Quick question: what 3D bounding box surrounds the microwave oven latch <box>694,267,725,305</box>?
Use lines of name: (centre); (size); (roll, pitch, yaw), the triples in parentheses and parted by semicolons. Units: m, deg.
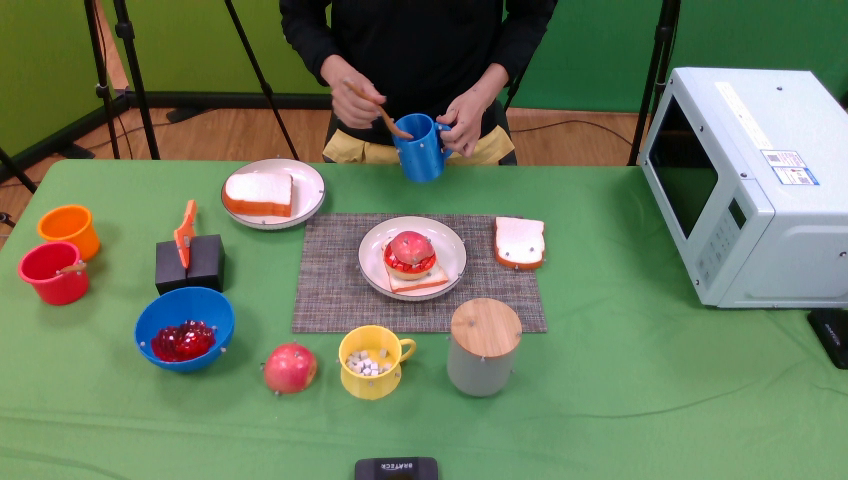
microwave oven latch: (0.523, 0.082, 1.115); (0.030, 0.029, 0.078); (3, 46, 0)

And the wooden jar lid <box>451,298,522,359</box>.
wooden jar lid: (0.093, 0.135, 0.914); (0.108, 0.021, 0.107); (2, 48, -3)

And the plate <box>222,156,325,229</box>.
plate: (-0.308, -0.095, 1.251); (0.209, 0.038, 0.208); (2, 47, -2)

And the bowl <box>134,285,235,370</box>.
bowl: (-0.377, 0.155, 0.981); (0.151, 0.077, 0.150); (2, 46, -2)

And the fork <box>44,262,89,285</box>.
fork: (-0.598, 0.054, 1.014); (0.207, 0.019, 0.028); (-15, 29, 45)

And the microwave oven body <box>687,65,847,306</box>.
microwave oven body: (0.669, -0.111, 1.176); (0.326, 0.261, 0.439); (0, 46, -3)

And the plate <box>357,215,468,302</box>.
plate: (-0.022, 0.037, 1.141); (0.208, 0.039, 0.206); (2, 46, -2)

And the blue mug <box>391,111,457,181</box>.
blue mug: (0.006, -0.183, 1.152); (0.116, 0.106, 0.082); (-16, 51, 2)

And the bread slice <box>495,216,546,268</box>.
bread slice: (0.194, 0.002, 1.205); (0.105, 0.019, 0.131); (5, 45, 2)

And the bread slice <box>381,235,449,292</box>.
bread slice: (-0.026, 0.039, 1.140); (0.107, 0.018, 0.133); (-12, 49, -16)

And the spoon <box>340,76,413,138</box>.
spoon: (-0.080, -0.228, 1.049); (0.021, 0.195, 0.041); (-51, 48, 1)

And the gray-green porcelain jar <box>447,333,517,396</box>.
gray-green porcelain jar: (0.091, 0.178, 0.960); (0.106, 0.127, 0.105); (2, 46, -2)

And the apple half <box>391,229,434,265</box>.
apple half: (-0.021, 0.003, 1.085); (0.081, 0.033, 0.081); (7, 44, -7)

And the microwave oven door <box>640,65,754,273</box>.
microwave oven door: (0.523, -0.147, 1.193); (0.039, 0.245, 0.353); (0, 47, -3)

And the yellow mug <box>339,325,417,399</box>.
yellow mug: (-0.072, 0.190, 0.978); (0.131, 0.064, 0.099); (-17, 50, -20)

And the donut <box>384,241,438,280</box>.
donut: (-0.025, 0.030, 1.109); (0.099, 0.048, 0.098); (3, 46, -2)

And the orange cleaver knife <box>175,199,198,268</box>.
orange cleaver knife: (-0.438, -0.017, 1.138); (0.012, 0.077, 0.210); (-13, 27, -7)

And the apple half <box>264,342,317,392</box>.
apple half: (-0.214, 0.198, 0.970); (0.074, 0.053, 0.080); (19, 48, 10)
